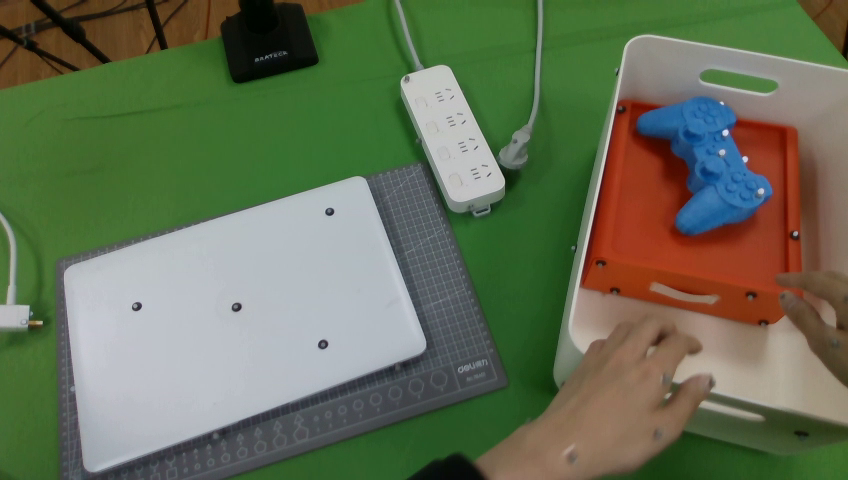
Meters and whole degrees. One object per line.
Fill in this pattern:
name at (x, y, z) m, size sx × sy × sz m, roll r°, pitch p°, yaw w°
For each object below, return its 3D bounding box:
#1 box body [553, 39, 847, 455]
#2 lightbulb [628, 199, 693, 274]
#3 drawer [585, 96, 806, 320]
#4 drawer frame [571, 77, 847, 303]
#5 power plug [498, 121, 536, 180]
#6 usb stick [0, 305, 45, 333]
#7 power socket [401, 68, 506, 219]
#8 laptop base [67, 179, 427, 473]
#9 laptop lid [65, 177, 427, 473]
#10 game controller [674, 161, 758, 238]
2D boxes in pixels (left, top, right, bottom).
box body at (0.285, 0.003, 0.603) m, size 0.253 × 0.161 × 0.361 m, roll 13°, pitch 63°, yaw 9°
lightbulb at (0.246, -0.003, 0.647) m, size 0.059 × 0.060 × 0.106 m, roll -8°, pitch 50°, yaw -1°
drawer at (0.291, -0.037, 0.651) m, size 0.194 × 0.074 × 0.210 m, roll 12°, pitch 69°, yaw 9°
drawer frame at (0.272, -0.046, 0.607) m, size 0.083 × 0.212 × 0.202 m, roll -43°, pitch 101°, yaw -5°
power plug at (0.120, -0.106, 0.737) m, size 0.035 × 0.053 × 0.072 m, roll 39°, pitch 52°, yaw 25°
usb stick at (-0.444, 0.086, 0.655) m, size 0.059 × 0.021 × 0.027 m, roll 10°, pitch 62°, yaw -30°
power socket at (0.033, -0.127, 0.755) m, size 0.072 × 0.033 × 0.224 m, roll -17°, pitch 62°, yaw -8°
laptop base at (-0.198, 0.078, 0.662) m, size 0.355 × 0.023 × 0.233 m, roll -19°, pitch 66°, yaw -8°
laptop lid at (-0.198, 0.075, 0.651) m, size 0.357 × 0.013 × 0.239 m, roll -17°, pitch 65°, yaw -7°
game controller at (0.291, -0.081, 0.629) m, size 0.097 × 0.052 × 0.153 m, roll -7°, pitch 62°, yaw -5°
